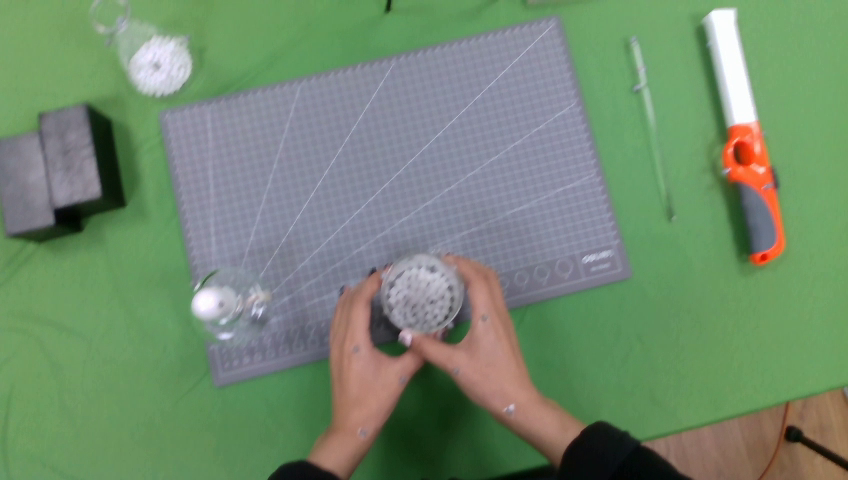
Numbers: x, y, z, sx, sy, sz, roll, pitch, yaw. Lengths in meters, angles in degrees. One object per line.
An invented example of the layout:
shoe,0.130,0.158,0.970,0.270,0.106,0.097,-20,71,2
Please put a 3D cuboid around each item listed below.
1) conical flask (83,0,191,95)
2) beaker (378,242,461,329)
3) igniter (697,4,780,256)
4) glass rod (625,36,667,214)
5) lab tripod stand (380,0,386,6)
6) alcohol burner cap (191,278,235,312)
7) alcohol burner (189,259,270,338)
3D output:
conical flask,-0.291,-0.200,0.606,0.075,0.122,0.075,0,83,0
beaker,-0.003,0.045,0.588,0.074,0.100,0.084,29,81,2
igniter,0.337,-0.120,0.651,0.057,0.025,0.275,-8,84,-12
glass rod,0.242,-0.126,0.660,0.008,0.008,0.199,-10,86,-2
lab tripod stand,0.011,-0.310,0.616,0.148,0.131,0.148,0,85,0
alcohol burner cap,-0.191,0.050,0.544,0.034,0.048,0.034,0,86,-5
alcohol burner,-0.192,0.055,0.580,0.078,0.119,0.077,0,83,2
